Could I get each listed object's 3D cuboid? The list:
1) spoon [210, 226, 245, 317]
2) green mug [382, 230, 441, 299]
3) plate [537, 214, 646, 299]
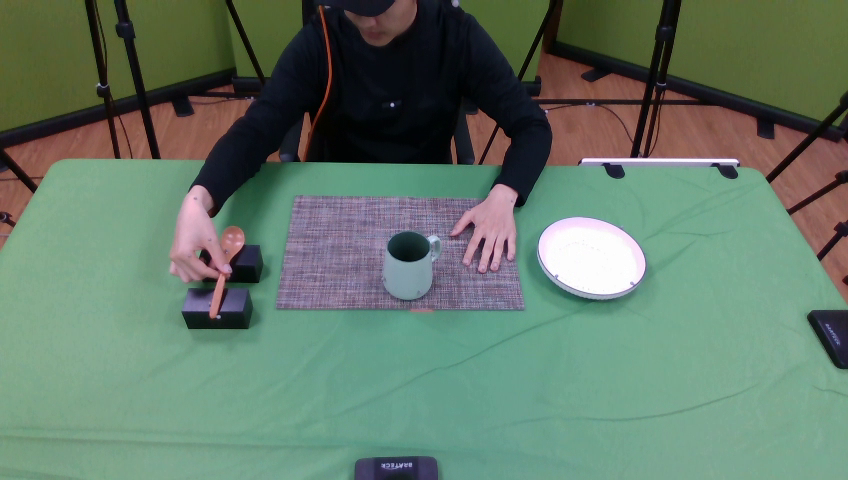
[{"bbox_3d":[-0.346,0.051,1.052,0.042,0.022,0.192,16,44,-18],"label":"spoon"},{"bbox_3d":[-0.017,0.037,1.097,0.125,0.105,0.092,-34,57,-31],"label":"green mug"},{"bbox_3d":[0.321,0.035,1.176,0.209,0.038,0.208,2,47,-2],"label":"plate"}]
